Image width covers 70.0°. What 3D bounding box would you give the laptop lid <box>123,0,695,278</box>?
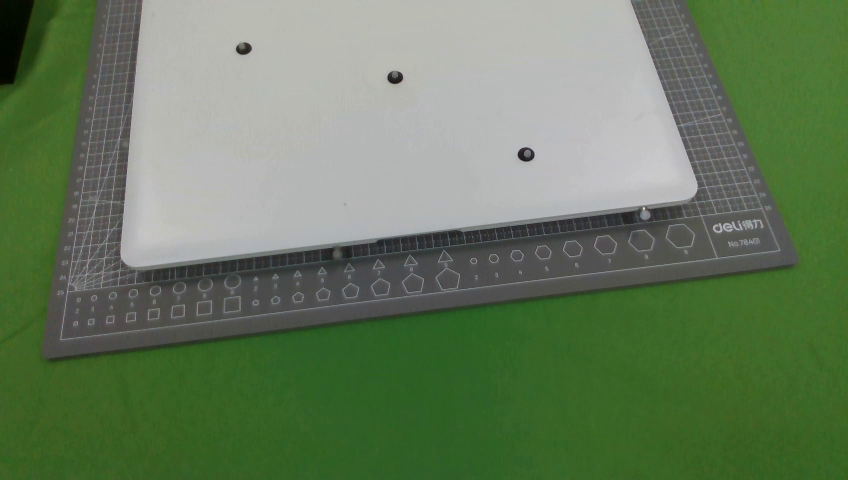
[{"bbox_3d":[-0.019,-0.102,0.412,0.357,0.013,0.239,-6,65,-2],"label":"laptop lid"}]

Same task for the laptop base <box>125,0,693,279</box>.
[{"bbox_3d":[-0.019,-0.099,0.423,0.355,0.023,0.233,-7,66,-3],"label":"laptop base"}]
